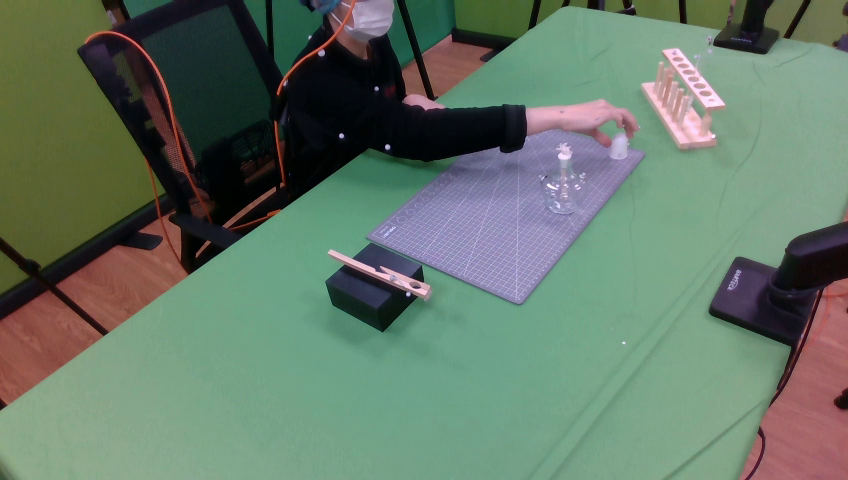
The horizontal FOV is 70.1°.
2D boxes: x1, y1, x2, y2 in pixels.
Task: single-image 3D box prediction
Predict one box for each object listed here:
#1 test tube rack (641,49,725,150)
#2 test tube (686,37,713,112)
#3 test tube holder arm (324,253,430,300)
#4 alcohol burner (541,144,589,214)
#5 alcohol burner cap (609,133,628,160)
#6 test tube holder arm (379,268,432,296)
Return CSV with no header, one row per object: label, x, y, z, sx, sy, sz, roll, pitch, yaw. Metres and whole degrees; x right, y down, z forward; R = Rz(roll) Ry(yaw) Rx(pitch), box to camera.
test tube rack,0.495,-0.279,1.175,0.067,0.085,0.241,-5,41,3
test tube,0.509,-0.306,1.128,0.017,0.151,0.017,-1,45,1
test tube holder arm,-0.069,0.049,0.853,0.177,0.015,0.013,17,49,25
alcohol burner,0.229,-0.102,0.983,0.078,0.119,0.077,-6,41,5
alcohol burner cap,0.357,-0.172,1.100,0.034,0.048,0.033,-5,41,4
test tube holder arm,-0.028,0.058,0.837,0.087,0.015,0.010,18,50,26
